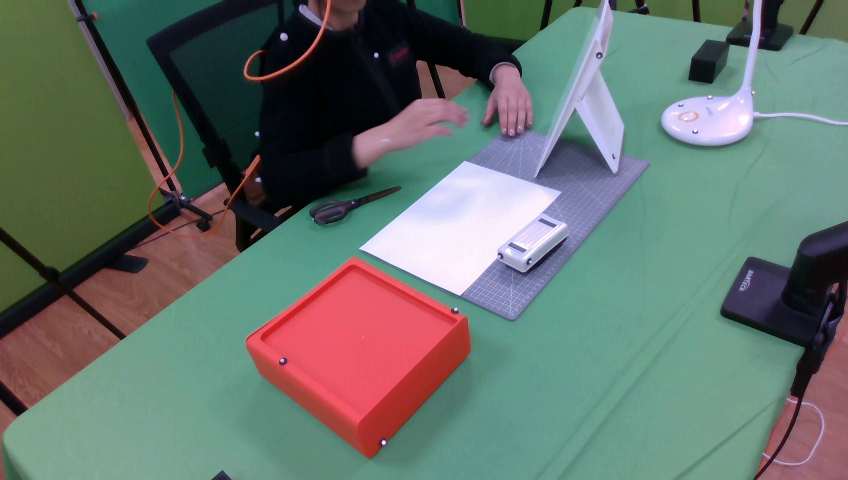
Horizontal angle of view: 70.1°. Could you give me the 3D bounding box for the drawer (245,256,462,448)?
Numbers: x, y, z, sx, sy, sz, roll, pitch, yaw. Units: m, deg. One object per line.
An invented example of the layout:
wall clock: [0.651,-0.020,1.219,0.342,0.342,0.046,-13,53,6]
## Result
drawer: [-0.089,0.136,0.792,0.210,0.073,0.195,26,51,34]

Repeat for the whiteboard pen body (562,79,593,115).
whiteboard pen body: [0.328,-0.306,1.278,0.017,0.017,0.141,20,51,30]

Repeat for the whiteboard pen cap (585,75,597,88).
whiteboard pen cap: [0.362,-0.343,1.310,0.018,0.018,0.033,19,54,29]

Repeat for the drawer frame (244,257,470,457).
drawer frame: [-0.084,0.137,0.788,0.212,0.083,0.202,25,50,33]

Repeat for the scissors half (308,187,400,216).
scissors half: [-0.126,-0.075,1.105,0.176,0.013,0.039,-15,29,-10]

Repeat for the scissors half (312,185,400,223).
scissors half: [-0.118,-0.066,1.088,0.176,0.013,0.040,-26,38,-24]

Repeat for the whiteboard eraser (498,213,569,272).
whiteboard eraser: [0.168,0.006,0.924,0.113,0.042,0.055,-36,48,-28]

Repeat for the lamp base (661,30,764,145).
lamp base: [0.535,-0.287,1.096,0.179,0.181,0.159,-10,40,-4]

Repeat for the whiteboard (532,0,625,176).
whiteboard: [0.320,-0.259,1.050,0.144,0.306,0.217,21,45,5]
